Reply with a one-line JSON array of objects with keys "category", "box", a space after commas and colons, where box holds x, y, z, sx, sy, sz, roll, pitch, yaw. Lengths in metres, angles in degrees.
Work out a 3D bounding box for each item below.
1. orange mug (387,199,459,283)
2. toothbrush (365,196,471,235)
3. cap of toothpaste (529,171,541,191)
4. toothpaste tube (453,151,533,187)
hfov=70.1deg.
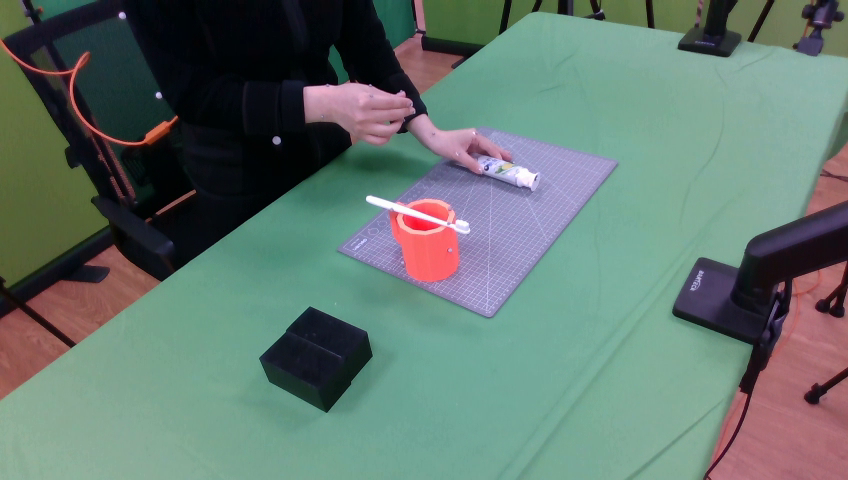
[{"category": "orange mug", "box": [-0.006, -0.007, 0.923, 0.125, 0.101, 0.084, 33, 54, 32]}, {"category": "toothbrush", "box": [-0.013, -0.039, 0.880, 0.180, 0.017, 0.014, 18, 50, 27]}, {"category": "cap of toothpaste", "box": [0.193, -0.103, 1.056, 0.011, 0.037, 0.037, 19, 47, 22]}, {"category": "toothpaste tube", "box": [0.133, -0.132, 1.104, 0.163, 0.034, 0.055, 25, 43, 35]}]
